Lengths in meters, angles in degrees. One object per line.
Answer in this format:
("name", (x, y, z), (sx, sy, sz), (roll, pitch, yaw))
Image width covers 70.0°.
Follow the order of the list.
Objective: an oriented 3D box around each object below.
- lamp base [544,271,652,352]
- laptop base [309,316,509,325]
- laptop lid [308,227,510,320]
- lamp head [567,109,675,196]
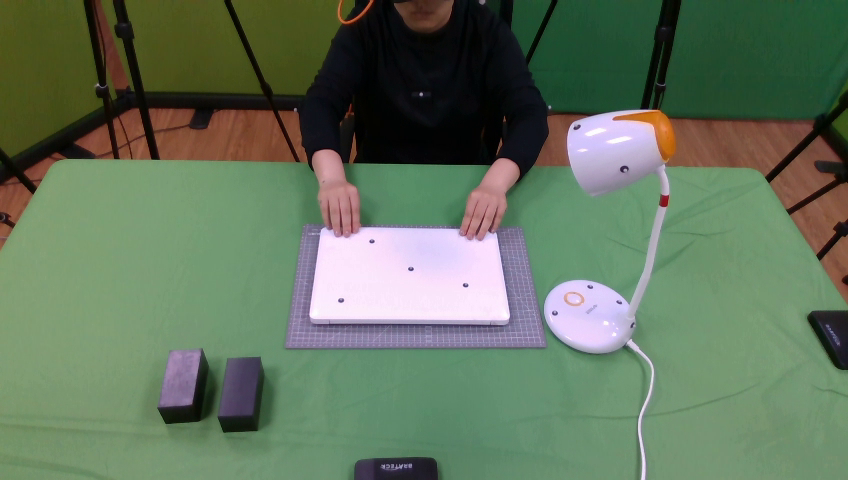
("lamp base", (0.309, 0.086, 1.029), (0.178, 0.181, 0.160), (32, 52, 21))
("laptop base", (-0.028, 0.066, 1.134), (0.355, 0.023, 0.234), (1, 42, -4))
("laptop lid", (-0.027, 0.056, 1.127), (0.357, 0.013, 0.240), (2, 44, -3))
("lamp head", (0.272, -0.123, 0.818), (0.122, 0.113, 0.112), (-9, 35, 37))
